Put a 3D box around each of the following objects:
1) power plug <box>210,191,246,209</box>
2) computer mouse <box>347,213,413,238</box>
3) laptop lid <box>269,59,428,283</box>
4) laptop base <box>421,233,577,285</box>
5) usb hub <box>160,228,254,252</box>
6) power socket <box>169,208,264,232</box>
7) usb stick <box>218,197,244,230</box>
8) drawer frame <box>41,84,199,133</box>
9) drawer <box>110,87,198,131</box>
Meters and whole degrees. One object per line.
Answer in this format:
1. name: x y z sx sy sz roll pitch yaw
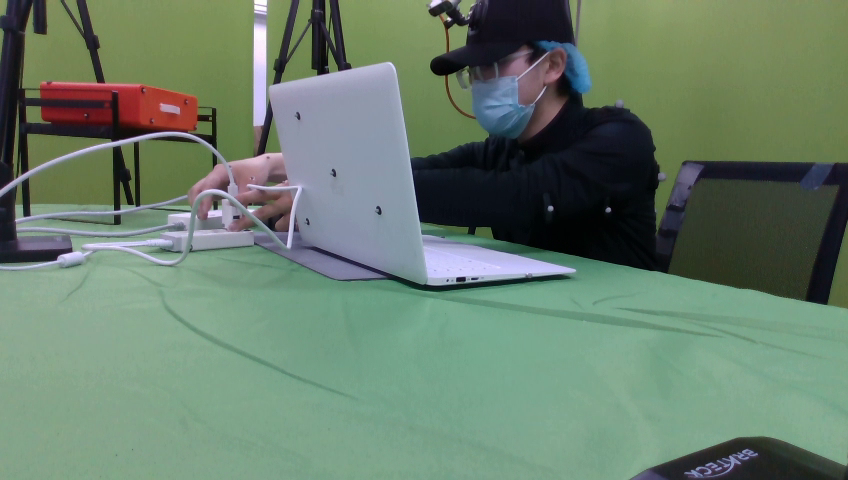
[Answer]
1. power plug: -0.387 -0.071 1.203 0.072 0.052 0.035 7 10 25
2. computer mouse: -0.079 -0.026 1.080 0.117 0.041 0.062 -5 12 -18
3. laptop lid: -0.110 -0.087 0.752 0.013 0.241 0.355 -18 19 -30
4. laptop base: 0.007 0.022 0.850 0.237 0.023 0.352 1 8 -34
5. usb hub: -0.319 -0.001 0.895 0.049 0.025 0.126 8 9 39
6. power socket: -0.381 -0.038 1.128 0.072 0.032 0.227 3 8 17
7. usb stick: -0.298 -0.035 0.927 0.027 0.059 0.021 24 14 29
8. drawer frame: -0.605 -0.264 1.225 0.213 0.082 0.202 3 8 8
9. drawer: -0.602 -0.263 1.225 0.211 0.073 0.195 3 8 10
